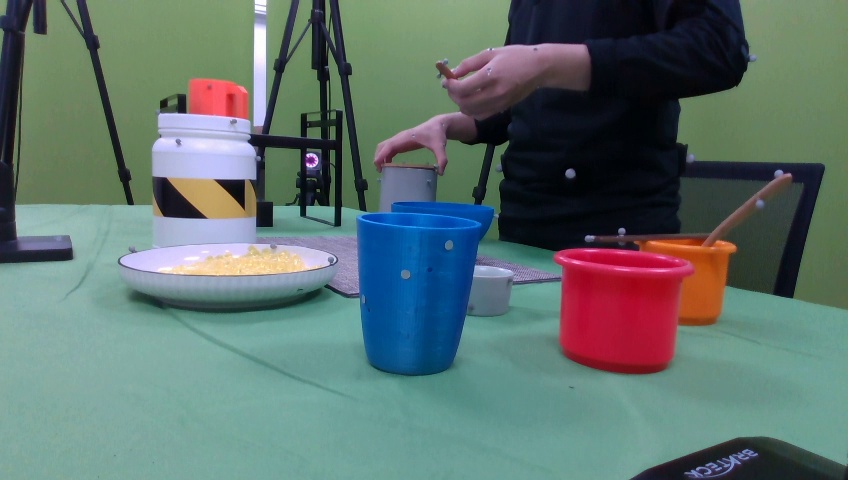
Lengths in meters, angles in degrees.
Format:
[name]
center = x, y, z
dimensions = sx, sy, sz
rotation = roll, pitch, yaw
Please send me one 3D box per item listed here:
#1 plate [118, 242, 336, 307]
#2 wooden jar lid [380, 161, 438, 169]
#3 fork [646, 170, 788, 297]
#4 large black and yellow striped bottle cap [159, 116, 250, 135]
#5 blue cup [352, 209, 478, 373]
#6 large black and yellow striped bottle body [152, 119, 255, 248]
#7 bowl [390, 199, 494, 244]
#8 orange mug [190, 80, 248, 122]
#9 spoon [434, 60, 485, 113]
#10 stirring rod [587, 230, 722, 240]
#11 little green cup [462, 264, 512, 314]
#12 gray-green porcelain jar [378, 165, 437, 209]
[plate]
center = -0.194, 0.033, 0.615
dimensions = 0.209, 0.038, 0.209
rotation = 2, 7, 0
[wooden jar lid]
center = -0.028, -0.135, 1.124
dimensions = 0.108, 0.020, 0.108
rotation = 3, 5, 0
[fork]
center = 0.256, 0.004, 0.543
dimensions = 0.028, 0.018, 0.207
rotation = 3, -36, -9
[large black and yellow striped bottle cap]
center = -0.292, -0.153, 0.810
dimensions = 0.115, 0.019, 0.115
rotation = 3, 9, 0
[blue cup]
center = -0.009, 0.034, 0.414
dimensions = 0.093, 0.100, 0.092
rotation = 4, 8, 0
[large black and yellow striped bottle body]
center = -0.296, -0.070, 0.819
dimensions = 0.131, 0.184, 0.130
rotation = 2, 7, 0
[bowl]
center = 0.024, -0.015, 0.871
dimensions = 0.151, 0.077, 0.151
rotation = 3, 7, 0
[orange mug]
center = -0.394, -0.257, 1.173
dimensions = 0.126, 0.100, 0.084
rotation = 1, 6, 25
[spoon]
center = 0.047, -0.218, 0.865
dimensions = 0.041, 0.021, 0.194
rotation = 3, -9, 21
[stirring rod]
center = 0.227, -0.006, 0.585
dimensions = 0.177, 0.006, 0.014
rotation = -2, 7, -28
[little green cup]
center = 0.053, 0.047, 0.580
dimensions = 0.061, 0.038, 0.061
rotation = 3, 8, 0
[gray-green porcelain jar]
center = -0.033, -0.073, 1.128
dimensions = 0.106, 0.126, 0.106
rotation = 4, 4, 0
